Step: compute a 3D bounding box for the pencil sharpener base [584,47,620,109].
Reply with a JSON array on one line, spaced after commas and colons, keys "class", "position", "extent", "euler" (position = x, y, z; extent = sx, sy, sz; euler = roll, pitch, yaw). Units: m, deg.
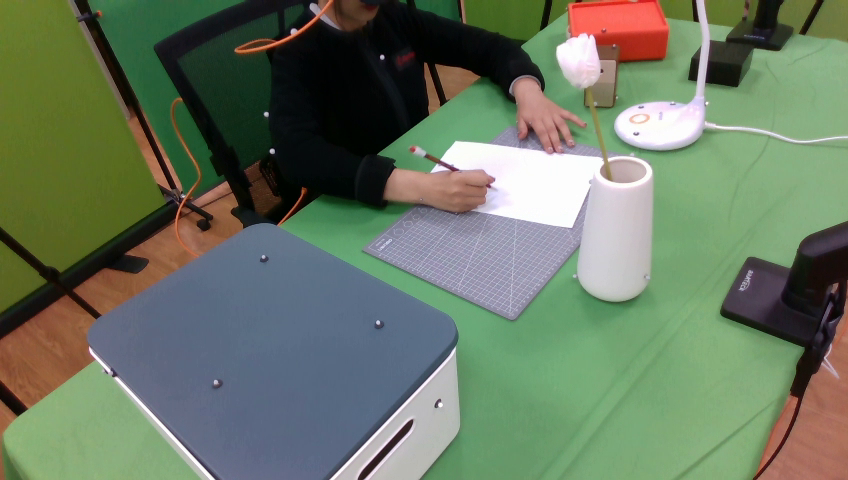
[{"class": "pencil sharpener base", "position": [0.367, -0.336, 1.249], "extent": [0.061, 0.107, 0.076], "euler": [6, 42, 19]}]

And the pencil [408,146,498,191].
[{"class": "pencil", "position": [0.053, -0.118, 1.019], "extent": [0.196, 0.012, 0.012], "euler": [21, 27, -32]}]

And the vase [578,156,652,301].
[{"class": "vase", "position": [0.261, -0.011, 0.812], "extent": [0.098, 0.201, 0.097], "euler": [-4, 40, 4]}]

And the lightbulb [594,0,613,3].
[{"class": "lightbulb", "position": [0.305, -0.437, 0.978], "extent": [0.060, 0.107, 0.059], "euler": [12, 43, -11]}]

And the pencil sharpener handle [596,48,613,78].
[{"class": "pencil sharpener handle", "position": [0.382, -0.378, 1.276], "extent": [0.036, 0.068, 0.030], "euler": [4, 41, 21]}]

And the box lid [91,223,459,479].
[{"class": "box lid", "position": [-0.174, 0.103, 0.667], "extent": [0.368, 0.015, 0.264], "euler": [24, 48, 35]}]

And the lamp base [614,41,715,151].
[{"class": "lamp base", "position": [0.449, -0.277, 1.106], "extent": [0.179, 0.181, 0.160], "euler": [1, 41, 9]}]

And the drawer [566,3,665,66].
[{"class": "drawer", "position": [0.447, -0.493, 1.440], "extent": [0.211, 0.073, 0.194], "euler": [0, 40, 10]}]

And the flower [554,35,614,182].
[{"class": "flower", "position": [0.237, -0.083, 0.774], "extent": [0.044, 0.363, 0.038], "euler": [-22, 26, 7]}]

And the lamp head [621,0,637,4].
[{"class": "lamp head", "position": [0.319, -0.453, 0.962], "extent": [0.113, 0.123, 0.112], "euler": [20, 33, -13]}]

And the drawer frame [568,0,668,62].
[{"class": "drawer frame", "position": [0.450, -0.496, 1.441], "extent": [0.213, 0.083, 0.201], "euler": [-1, 40, 9]}]

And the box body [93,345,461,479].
[{"class": "box body", "position": [-0.162, 0.170, 0.708], "extent": [0.361, 0.161, 0.255], "euler": [25, 50, 34]}]
